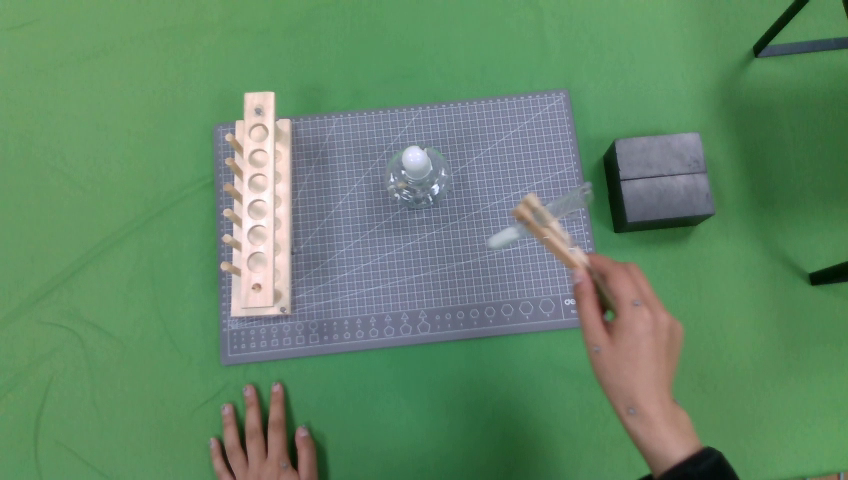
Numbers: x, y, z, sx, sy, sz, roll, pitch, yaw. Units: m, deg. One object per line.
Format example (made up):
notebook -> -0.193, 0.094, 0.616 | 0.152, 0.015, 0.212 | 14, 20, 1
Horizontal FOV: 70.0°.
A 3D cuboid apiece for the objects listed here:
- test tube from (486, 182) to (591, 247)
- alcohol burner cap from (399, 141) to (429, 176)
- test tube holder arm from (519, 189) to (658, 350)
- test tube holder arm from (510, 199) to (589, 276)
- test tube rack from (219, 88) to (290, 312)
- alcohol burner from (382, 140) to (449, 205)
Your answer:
test tube -> 0.092, -0.018, 0.521 | 0.017, 0.150, 0.017 | 6, 73, -22
alcohol burner cap -> -0.012, -0.090, 0.652 | 0.034, 0.048, 0.034 | 0, 83, 2
test tube holder arm -> 0.143, 0.027, 0.524 | 0.179, 0.015, 0.013 | 48, 68, -6
test tube holder arm -> 0.108, -0.001, 0.516 | 0.088, 0.015, 0.010 | 42, 69, -8
test tube rack -> -0.196, -0.043, 0.693 | 0.067, 0.085, 0.241 | -2, 78, 0
alcohol burner -> -0.010, -0.082, 0.687 | 0.078, 0.119, 0.077 | 0, 79, 1
